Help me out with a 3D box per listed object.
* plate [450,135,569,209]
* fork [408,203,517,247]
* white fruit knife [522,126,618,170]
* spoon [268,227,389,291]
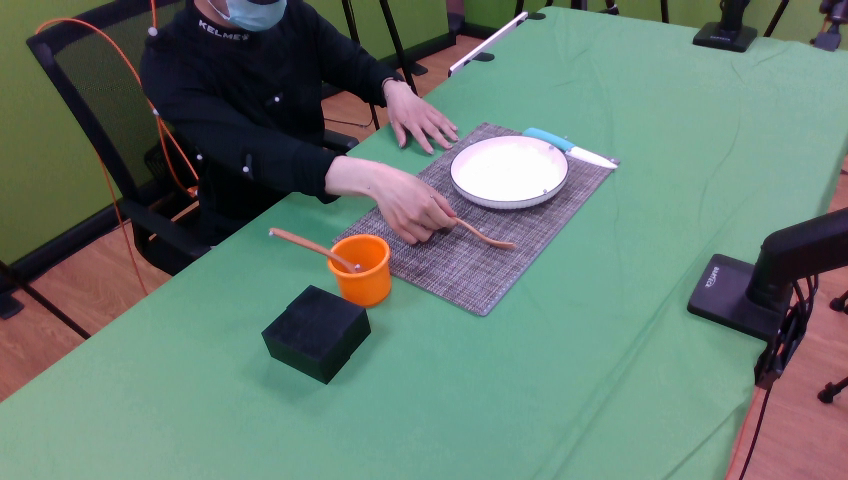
[{"bbox_3d":[0.149,-0.117,1.065,0.209,0.038,0.208,-4,41,4],"label":"plate"},{"bbox_3d":[0.058,-0.025,0.976,0.206,0.028,0.018,26,94,29],"label":"fork"},{"bbox_3d":[0.272,-0.172,1.132,0.205,0.016,0.027,32,82,34],"label":"white fruit knife"},{"bbox_3d":[-0.132,0.025,0.862,0.021,0.195,0.041,-40,32,33],"label":"spoon"}]
